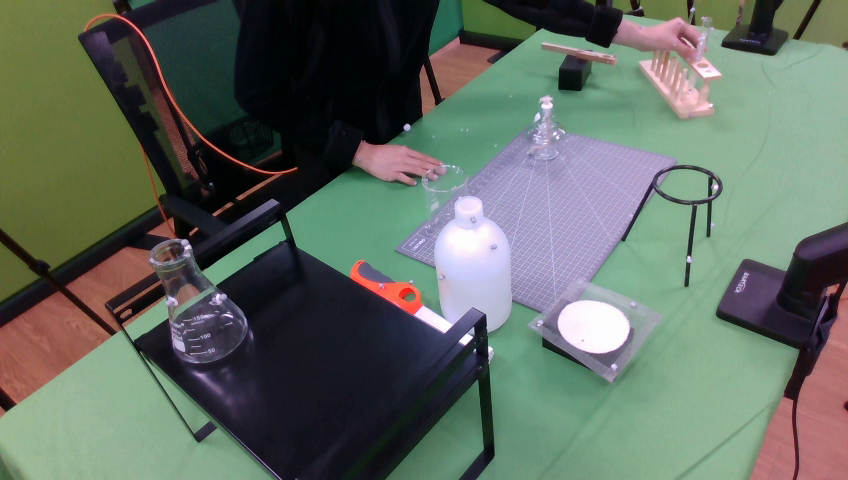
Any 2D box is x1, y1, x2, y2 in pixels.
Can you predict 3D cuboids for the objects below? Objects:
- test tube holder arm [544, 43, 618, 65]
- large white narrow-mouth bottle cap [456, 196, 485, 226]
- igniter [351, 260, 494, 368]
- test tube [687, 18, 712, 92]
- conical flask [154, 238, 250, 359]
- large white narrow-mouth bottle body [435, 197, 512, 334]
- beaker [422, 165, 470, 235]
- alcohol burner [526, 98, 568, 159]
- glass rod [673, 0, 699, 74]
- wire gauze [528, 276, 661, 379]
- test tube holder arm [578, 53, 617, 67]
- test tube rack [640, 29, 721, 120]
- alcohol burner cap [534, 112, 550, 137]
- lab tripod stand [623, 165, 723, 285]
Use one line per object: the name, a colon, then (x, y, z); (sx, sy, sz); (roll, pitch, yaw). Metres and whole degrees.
test tube holder arm: (0.345, -0.413, 1.341); (0.177, 0.015, 0.013); (26, 48, 32)
large white narrow-mouth bottle cap: (0.058, -0.036, 0.749); (0.038, 0.024, 0.037); (-4, 40, 4)
igniter: (-0.013, 0.099, 0.864); (0.274, 0.025, 0.057); (30, 65, 36)
test tube: (0.544, -0.362, 1.194); (0.017, 0.151, 0.017); (-3, 41, 3)
conical flask: (-0.225, 0.055, 0.597); (0.075, 0.122, 0.075); (-5, 41, 4)
large white narrow-mouth bottle body: (0.066, 0.028, 0.805); (0.102, 0.195, 0.101); (-4, 40, 4)
beaker: (0.041, -0.063, 0.986); (0.073, 0.101, 0.084); (20, 47, 29)
alcohol burner: (0.228, -0.210, 1.118); (0.078, 0.119, 0.077); (-5, 43, 5)
glass rod: (0.538, -0.425, 1.244); (0.008, 0.200, 0.008); (0, 47, 0)
wire gauze: (0.214, 0.103, 0.763); (0.124, 0.011, 0.122); (30, 53, 35)
test tube holder arm: (0.376, -0.394, 1.314); (0.087, 0.015, 0.010); (26, 48, 32)
test tube rack: (0.527, -0.351, 1.262); (0.067, 0.085, 0.241); (-8, 40, 2)
alcohol burner cap: (0.234, -0.231, 1.197); (0.034, 0.048, 0.033); (-4, 39, 4)
lab tripod stand: (0.366, -0.030, 0.874); (0.148, 0.132, 0.147); (-6, 41, 6)
